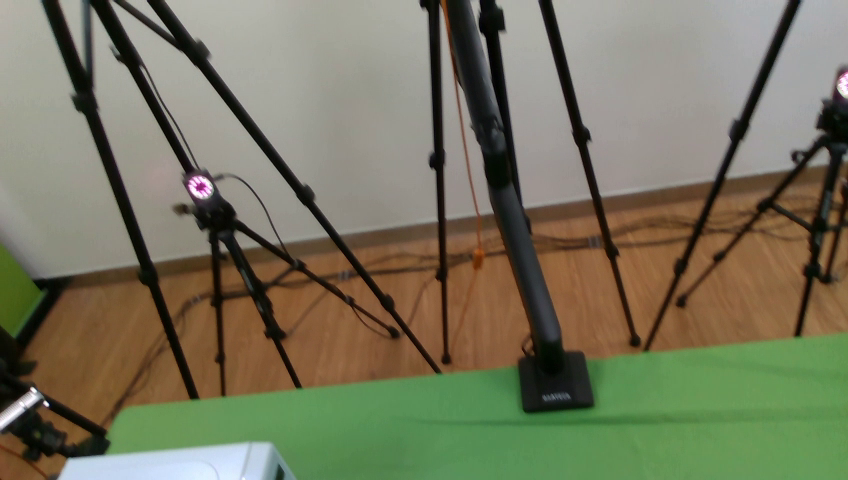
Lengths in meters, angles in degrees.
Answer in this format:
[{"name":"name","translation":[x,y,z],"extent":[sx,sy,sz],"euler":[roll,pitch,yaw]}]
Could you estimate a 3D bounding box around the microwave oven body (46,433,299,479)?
[{"name":"microwave oven body","translation":[-0.340,0.501,0.725],"extent":[0.326,0.263,0.437],"euler":[-8,41,8]}]
